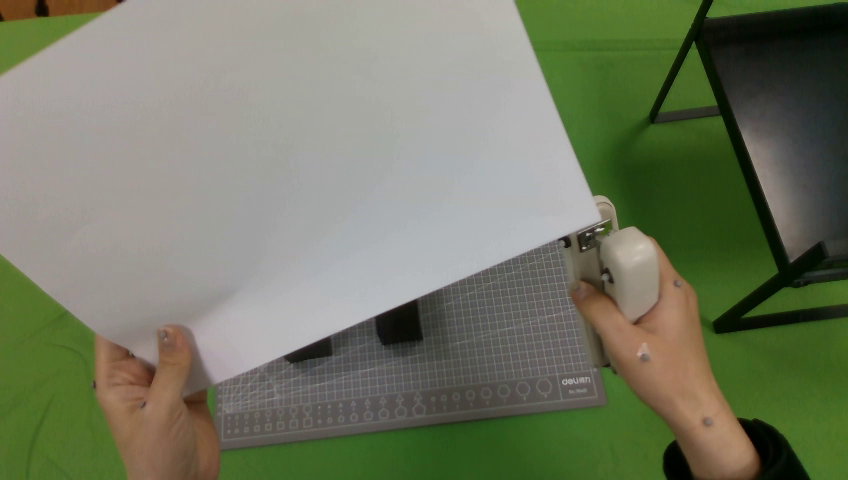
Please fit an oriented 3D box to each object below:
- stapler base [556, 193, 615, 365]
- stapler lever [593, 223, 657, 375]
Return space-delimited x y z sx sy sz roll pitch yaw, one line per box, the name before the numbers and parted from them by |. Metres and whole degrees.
stapler base | 0.122 0.033 0.411 0.041 0.131 0.024 -23 28 -10
stapler lever | 0.132 0.043 0.390 0.027 0.119 0.040 -23 29 -9
